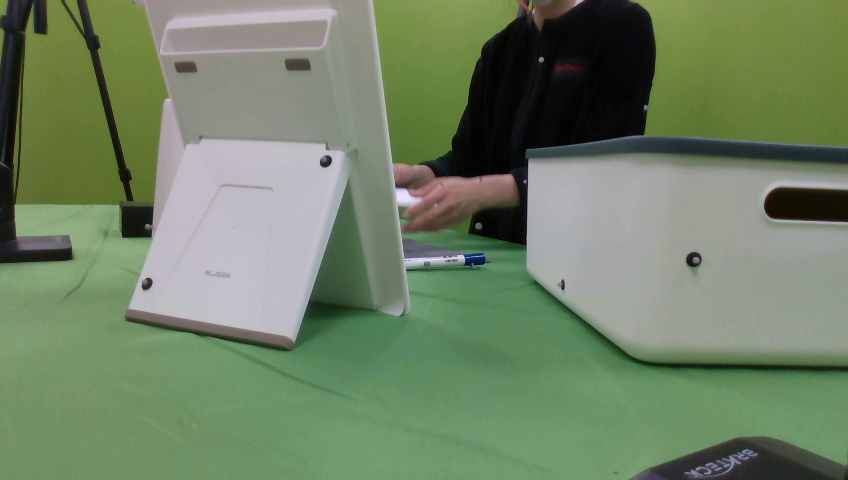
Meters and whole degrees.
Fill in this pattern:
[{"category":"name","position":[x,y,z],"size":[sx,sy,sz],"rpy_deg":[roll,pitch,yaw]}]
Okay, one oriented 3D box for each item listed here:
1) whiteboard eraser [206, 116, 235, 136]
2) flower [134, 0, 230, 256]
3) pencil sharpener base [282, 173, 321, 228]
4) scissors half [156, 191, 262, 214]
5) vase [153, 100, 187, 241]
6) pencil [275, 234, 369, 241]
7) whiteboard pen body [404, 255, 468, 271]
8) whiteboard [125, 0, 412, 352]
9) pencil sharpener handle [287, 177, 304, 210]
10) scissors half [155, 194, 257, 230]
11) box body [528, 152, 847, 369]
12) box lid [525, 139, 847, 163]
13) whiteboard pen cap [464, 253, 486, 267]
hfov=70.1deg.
[{"category":"whiteboard eraser","position":[-0.450,-0.252,1.335],"size":[0.056,0.042,0.112],"rpy_deg":[1,7,-22]},{"category":"flower","position":[-0.282,-0.147,0.713],"size":[0.038,0.362,0.044],"rpy_deg":[-23,24,-31]},{"category":"pencil sharpener base","position":[-0.247,-0.080,1.212],"size":[0.061,0.107,0.076],"rpy_deg":[-2,5,-28]},{"category":"scissors half","position":[-0.371,-0.069,1.051],"size":[0.176,0.040,0.013],"rpy_deg":[2,25,-24]},{"category":"vase","position":[-0.278,-0.066,0.736],"size":[0.098,0.200,0.098],"rpy_deg":[2,9,0]},{"category":"pencil","position":[-0.169,-0.005,1.037],"size":[0.195,0.012,0.012],"rpy_deg":[-2,8,-45]},{"category":"whiteboard pen body","position":[0.013,0.030,0.792],"size":[0.141,0.017,0.017],"rpy_deg":[-3,9,-24]},{"category":"whiteboard","position":[-0.151,-0.049,0.472],"size":[0.216,0.305,0.144],"rpy_deg":[6,27,24]},{"category":"pencil sharpener handle","position":[-0.269,-0.096,1.257],"size":[0.036,0.067,0.030],"rpy_deg":[-8,8,-27]},{"category":"scissors half","position":[-0.378,-0.051,1.058],"size":[0.176,0.040,0.012],"rpy_deg":[20,22,-31]},{"category":"box body","position":[0.258,-0.005,0.591],"size":[0.254,0.160,0.363],"rpy_deg":[2,7,-4]},{"category":"box lid","position":[0.261,-0.078,0.580],"size":[0.264,0.015,0.371],"rpy_deg":[2,7,-4]},{"category":"whiteboard pen cap","position":[0.066,0.027,0.818],"size":[0.033,0.018,0.018],"rpy_deg":[-5,10,-24]}]
